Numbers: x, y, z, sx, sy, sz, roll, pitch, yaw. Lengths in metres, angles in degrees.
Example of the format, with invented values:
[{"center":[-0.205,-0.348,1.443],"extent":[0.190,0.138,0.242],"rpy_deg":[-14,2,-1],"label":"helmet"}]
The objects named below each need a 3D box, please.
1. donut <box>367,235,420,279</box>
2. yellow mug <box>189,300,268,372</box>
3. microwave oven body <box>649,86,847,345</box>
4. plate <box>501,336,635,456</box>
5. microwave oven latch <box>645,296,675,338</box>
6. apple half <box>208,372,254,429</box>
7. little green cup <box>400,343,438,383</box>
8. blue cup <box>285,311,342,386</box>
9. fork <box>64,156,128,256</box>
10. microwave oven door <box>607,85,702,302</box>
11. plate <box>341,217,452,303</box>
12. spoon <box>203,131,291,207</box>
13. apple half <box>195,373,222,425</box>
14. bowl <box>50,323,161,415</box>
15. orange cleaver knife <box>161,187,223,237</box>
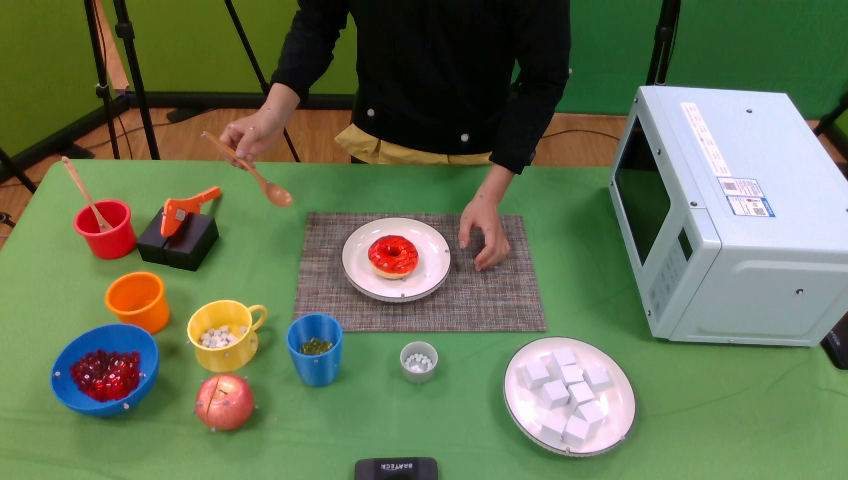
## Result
[{"center":[-0.057,0.032,1.131],"extent":[0.099,0.048,0.098],"rpy_deg":[3,45,-3],"label":"donut"},{"center":[-0.315,0.148,1.001],"extent":[0.131,0.064,0.099],"rpy_deg":[-33,55,-31],"label":"yellow mug"},{"center":[0.568,-0.053,1.118],"extent":[0.326,0.261,0.439],"rpy_deg":[2,45,-1],"label":"microwave oven body"},{"center":[0.225,0.248,0.963],"extent":[0.208,0.039,0.206],"rpy_deg":[2,46,-2],"label":"plate"},{"center":[0.412,0.134,1.061],"extent":[0.030,0.029,0.078],"rpy_deg":[3,45,0],"label":"microwave oven latch"},{"center":[-0.282,0.244,0.908],"extent":[0.053,0.075,0.080],"rpy_deg":[7,42,-1],"label":"apple half"},{"center":[-0.010,0.202,0.991],"extent":[0.061,0.039,0.061],"rpy_deg":[2,46,-2],"label":"little green cup"},{"center":[-0.170,0.179,0.958],"extent":[0.093,0.101,0.092],"rpy_deg":[2,44,-1],"label":"blue cup"},{"center":[-0.614,-0.064,1.129],"extent":[0.028,0.018,0.207],"rpy_deg":[-30,97,-16],"label":"fork"},{"center":[0.423,-0.094,1.140],"extent":[0.039,0.245,0.353],"rpy_deg":[2,46,-1],"label":"microwave oven door"},{"center":[-0.052,0.039,1.140],"extent":[0.209,0.038,0.208],"rpy_deg":[2,46,-2],"label":"plate"},{"center":[-0.319,-0.129,1.099],"extent":[0.194,0.021,0.041],"rpy_deg":[46,49,-21],"label":"spoon"},{"center":[-0.322,0.239,0.907],"extent":[0.033,0.081,0.081],"rpy_deg":[6,46,0],"label":"apple half"},{"center":[-0.472,0.209,0.924],"extent":[0.151,0.077,0.150],"rpy_deg":[3,45,-2],"label":"bowl"},{"center":[-0.448,-0.058,1.180],"extent":[0.012,0.077,0.211],"rpy_deg":[13,17,6],"label":"orange cleaver knife"}]
